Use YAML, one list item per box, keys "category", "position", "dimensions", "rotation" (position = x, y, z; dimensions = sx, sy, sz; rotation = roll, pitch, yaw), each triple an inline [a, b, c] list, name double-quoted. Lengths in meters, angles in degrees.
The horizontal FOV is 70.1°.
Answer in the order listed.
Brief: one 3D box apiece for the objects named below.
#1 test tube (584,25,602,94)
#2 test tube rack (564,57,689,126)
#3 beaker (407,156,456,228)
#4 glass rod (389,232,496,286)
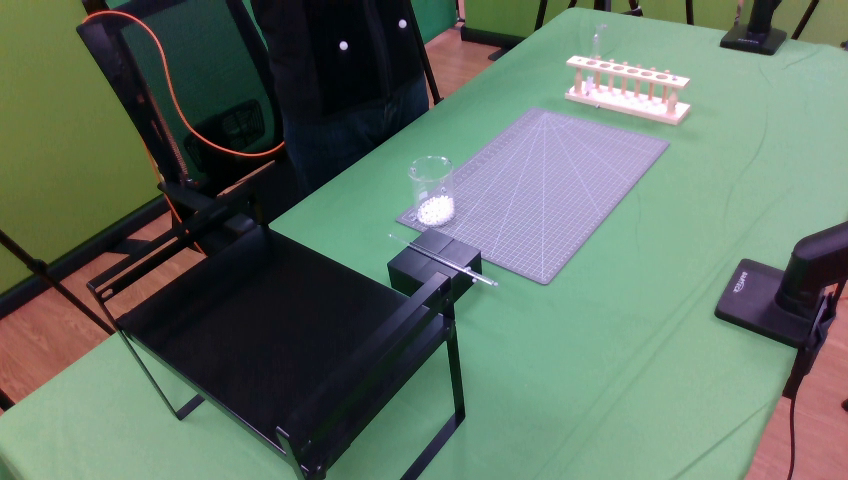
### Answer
- category: "test tube"
  position: [0.341, -0.362, 1.224]
  dimensions: [0.017, 0.151, 0.017]
  rotation: [-2, 47, 2]
- category: "test tube rack"
  position: [0.411, -0.311, 1.230]
  dimensions: [0.240, 0.085, 0.067]
  rotation: [23, 49, 32]
- category: "beaker"
  position: [0.016, -0.079, 1.002]
  dimensions: [0.073, 0.101, 0.084]
  rotation: [26, 49, 33]
- category: "glass rod"
  position: [0.022, 0.025, 0.878]
  dimensions: [0.198, 0.008, 0.008]
  rotation: [25, 50, 33]
